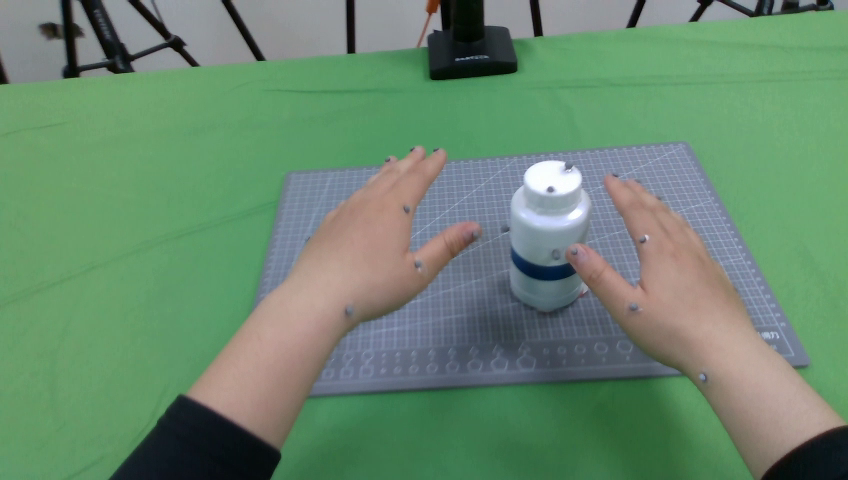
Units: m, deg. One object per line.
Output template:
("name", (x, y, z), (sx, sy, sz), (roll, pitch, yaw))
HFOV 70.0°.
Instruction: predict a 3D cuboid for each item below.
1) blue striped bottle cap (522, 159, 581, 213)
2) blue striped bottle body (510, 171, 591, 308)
("blue striped bottle cap", (0.097, -0.042, 0.461), (0.044, 0.021, 0.044), (-2, 44, 2))
("blue striped bottle body", (0.102, -0.005, 0.496), (0.063, 0.122, 0.062), (-3, 44, 4))
